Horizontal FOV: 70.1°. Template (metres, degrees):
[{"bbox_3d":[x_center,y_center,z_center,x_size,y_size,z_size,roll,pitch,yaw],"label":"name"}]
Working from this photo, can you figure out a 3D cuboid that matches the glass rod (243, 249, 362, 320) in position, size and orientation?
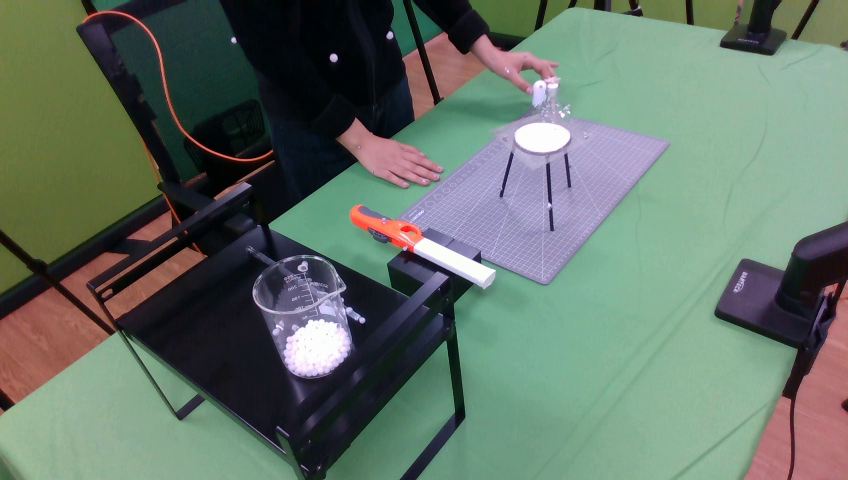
[{"bbox_3d":[-0.141,0.046,0.674,0.198,0.008,0.008,24,49,32],"label":"glass rod"}]

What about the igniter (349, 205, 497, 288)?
[{"bbox_3d":[-0.013,0.004,0.897,0.274,0.025,0.057,25,44,32],"label":"igniter"}]

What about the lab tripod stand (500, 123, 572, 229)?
[{"bbox_3d":[0.194,-0.110,0.985,0.148,0.132,0.147,-3,41,3],"label":"lab tripod stand"}]

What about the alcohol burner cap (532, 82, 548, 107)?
[{"bbox_3d":[0.237,-0.299,1.231,0.034,0.048,0.033,-4,42,4],"label":"alcohol burner cap"}]

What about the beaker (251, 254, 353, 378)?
[{"bbox_3d":[-0.106,0.074,0.565,0.084,0.101,0.073,-1,41,8],"label":"beaker"}]

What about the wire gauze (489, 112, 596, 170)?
[{"bbox_3d":[0.183,-0.161,0.942,0.122,0.011,0.124,-24,44,-18],"label":"wire gauze"}]

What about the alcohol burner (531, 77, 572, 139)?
[{"bbox_3d":[0.246,-0.257,1.165,0.078,0.119,0.077,-6,40,6],"label":"alcohol burner"}]
